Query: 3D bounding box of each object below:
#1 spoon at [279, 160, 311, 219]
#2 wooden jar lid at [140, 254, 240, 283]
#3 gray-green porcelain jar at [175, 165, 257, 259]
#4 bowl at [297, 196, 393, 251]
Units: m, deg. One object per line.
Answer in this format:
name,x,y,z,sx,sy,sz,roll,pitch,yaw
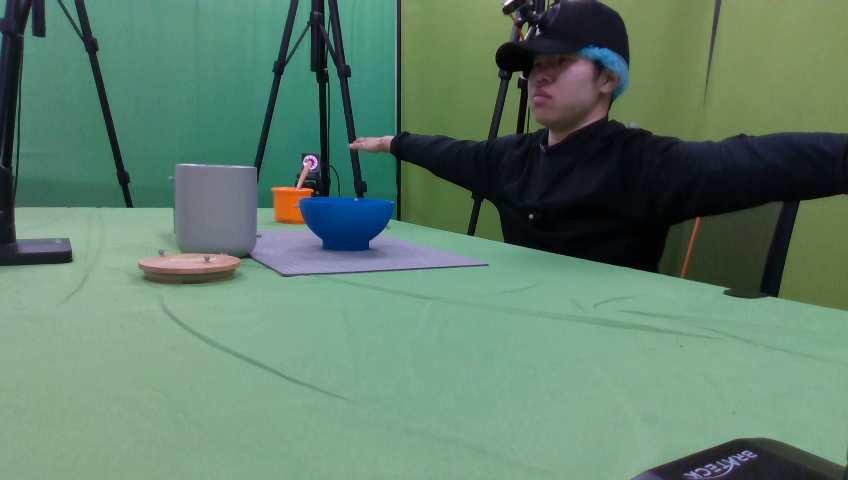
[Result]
spoon,-0.284,-0.117,1.371,0.041,0.193,0.022,4,-37,10
wooden jar lid,-0.269,0.033,0.698,0.108,0.020,0.108,2,5,0
gray-green porcelain jar,-0.286,-0.039,0.837,0.106,0.126,0.106,2,7,0
bowl,-0.125,-0.026,0.958,0.151,0.077,0.151,2,7,0
